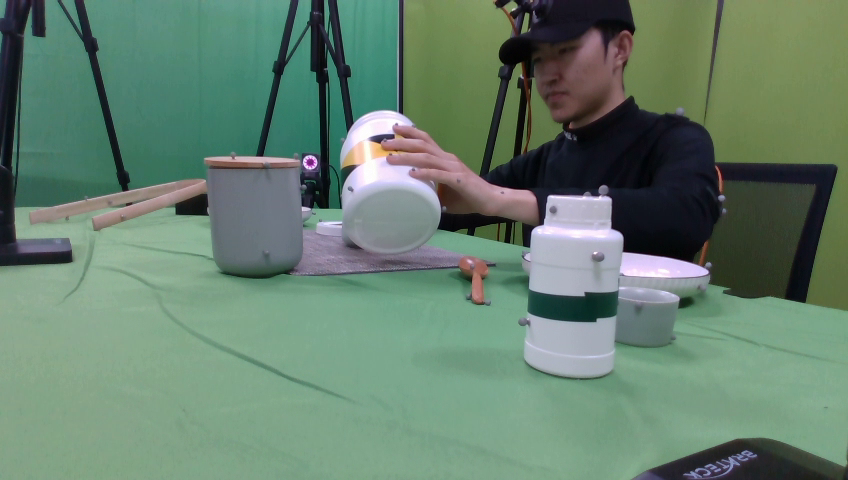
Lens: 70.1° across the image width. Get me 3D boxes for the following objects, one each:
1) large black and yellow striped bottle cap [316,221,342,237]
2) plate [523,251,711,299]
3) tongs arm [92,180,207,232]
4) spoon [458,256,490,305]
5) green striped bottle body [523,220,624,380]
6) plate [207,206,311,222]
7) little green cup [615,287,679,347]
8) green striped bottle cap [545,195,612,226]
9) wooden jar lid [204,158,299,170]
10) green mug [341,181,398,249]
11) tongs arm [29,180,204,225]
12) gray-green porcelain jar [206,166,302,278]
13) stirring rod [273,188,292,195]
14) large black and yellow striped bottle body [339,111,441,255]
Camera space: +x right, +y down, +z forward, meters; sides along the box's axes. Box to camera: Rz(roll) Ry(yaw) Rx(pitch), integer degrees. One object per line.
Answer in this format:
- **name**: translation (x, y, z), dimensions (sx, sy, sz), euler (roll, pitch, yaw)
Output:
- **large black and yellow striped bottle cap**: translation (-0.147, -0.021, 1.147), dimensions (0.115, 0.019, 0.115), euler (2, 9, 0)
- **plate**: translation (0.219, 0.041, 0.706), dimensions (0.209, 0.038, 0.209), euler (2, 7, 0)
- **tongs arm**: translation (-0.534, -0.076, 1.221), dimensions (0.028, 0.028, 0.388), euler (-2, 15, 12)
- **spoon**: translation (0.059, 0.043, 0.695), dimensions (0.041, 0.021, 0.194), euler (18, 7, 0)
- **green striped bottle body**: translation (0.104, 0.031, 0.422), dimensions (0.063, 0.119, 0.063), euler (2, 8, 0)
- **plate**: translation (-0.342, -0.050, 1.259), dimensions (0.208, 0.039, 0.207), euler (2, 7, 0)
- **little green cup**: translation (0.180, 0.064, 0.506), dimensions (0.061, 0.038, 0.061), euler (2, 8, 0)
- **green striped bottle cap**: translation (0.106, -0.020, 0.414), dimensions (0.044, 0.020, 0.044), euler (2, 4, 0)
- **wooden jar lid**: translation (-0.202, -0.086, 0.714), dimensions (0.108, 0.020, 0.108), euler (3, 11, 0)
- **green mug**: translation (-0.091, -0.044, 0.996), dimensions (0.093, 0.105, 0.125), euler (0, 8, -11)
- **tongs arm**: translation (-0.609, -0.083, 1.245), dimensions (0.050, 0.026, 0.386), euler (5, 16, 23)
- **gray-green porcelain jar**: translation (-0.201, -0.024, 0.725), dimensions (0.106, 0.126, 0.106), euler (-1, 9, 1)
- **stirring rod**: translation (-0.354, -0.122, 1.519), dimensions (0.006, 0.014, 0.176), euler (2, 6, 1)
- **large black and yellow striped bottle body**: translation (-0.052, -0.085, 0.837), dimensions (0.131, 0.130, 0.183), euler (1, 43, -11)
